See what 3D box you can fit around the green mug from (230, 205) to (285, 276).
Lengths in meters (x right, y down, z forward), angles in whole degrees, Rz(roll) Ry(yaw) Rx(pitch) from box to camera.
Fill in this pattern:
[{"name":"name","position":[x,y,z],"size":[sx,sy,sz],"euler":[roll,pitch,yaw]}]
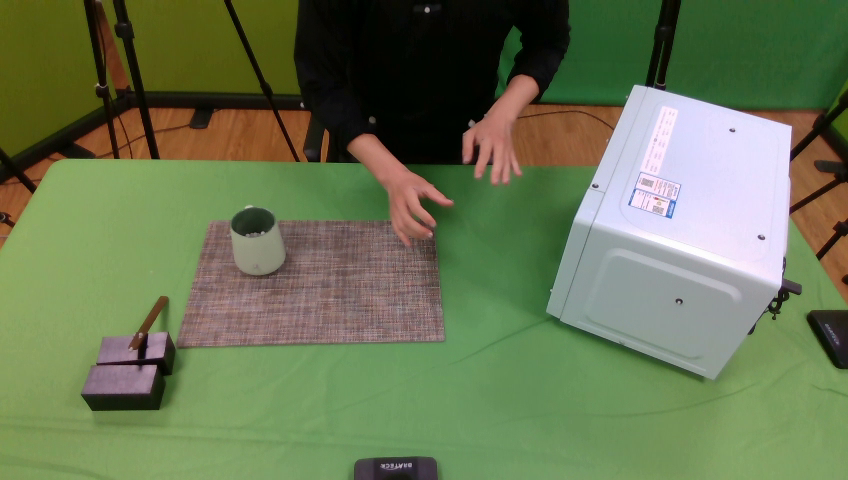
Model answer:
[{"name":"green mug","position":[-0.311,-0.008,1.118],"size":[0.092,0.105,0.124],"euler":[-14,48,-16]}]

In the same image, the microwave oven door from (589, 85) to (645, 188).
[{"name":"microwave oven door","position":[0.342,-0.107,1.149],"size":[0.039,0.245,0.354],"euler":[20,48,15]}]

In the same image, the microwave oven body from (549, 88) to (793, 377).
[{"name":"microwave oven body","position":[0.456,-0.028,1.088],"size":[0.325,0.261,0.440],"euler":[20,47,16]}]

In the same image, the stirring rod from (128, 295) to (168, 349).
[{"name":"stirring rod","position":[-0.451,0.131,0.996],"size":[0.014,0.006,0.175],"euler":[9,20,-10]}]

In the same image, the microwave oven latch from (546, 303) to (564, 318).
[{"name":"microwave oven latch","position":[0.242,0.102,1.081],"size":[0.030,0.029,0.079],"euler":[22,48,17]}]
